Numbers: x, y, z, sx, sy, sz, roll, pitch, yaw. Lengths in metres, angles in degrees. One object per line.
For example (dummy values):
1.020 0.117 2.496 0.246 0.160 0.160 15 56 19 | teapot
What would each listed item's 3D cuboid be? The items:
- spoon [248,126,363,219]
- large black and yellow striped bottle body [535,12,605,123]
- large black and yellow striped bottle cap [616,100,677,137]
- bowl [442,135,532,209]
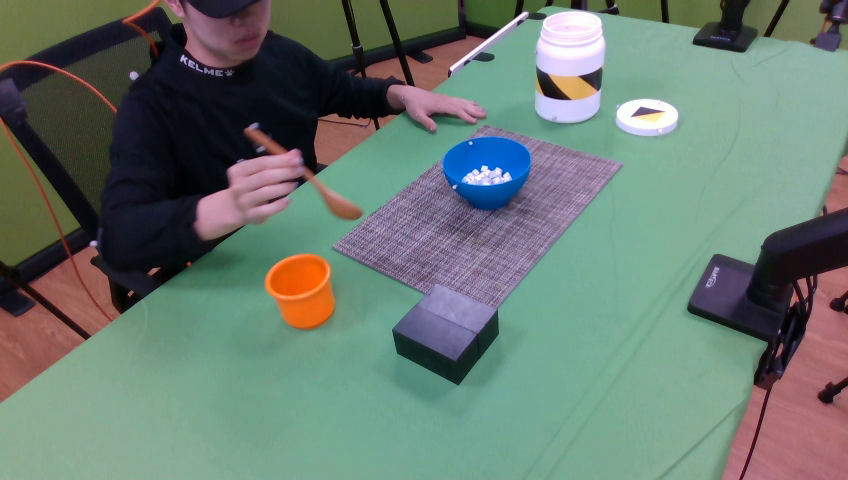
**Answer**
-0.153 -0.084 0.793 0.041 0.195 0.021 -22 38 36 | spoon
0.288 -0.340 1.197 0.131 0.185 0.130 -4 41 4 | large black and yellow striped bottle body
0.438 -0.241 1.190 0.115 0.019 0.114 -4 42 4 | large black and yellow striped bottle cap
0.108 -0.106 1.026 0.151 0.077 0.150 -4 41 4 | bowl
